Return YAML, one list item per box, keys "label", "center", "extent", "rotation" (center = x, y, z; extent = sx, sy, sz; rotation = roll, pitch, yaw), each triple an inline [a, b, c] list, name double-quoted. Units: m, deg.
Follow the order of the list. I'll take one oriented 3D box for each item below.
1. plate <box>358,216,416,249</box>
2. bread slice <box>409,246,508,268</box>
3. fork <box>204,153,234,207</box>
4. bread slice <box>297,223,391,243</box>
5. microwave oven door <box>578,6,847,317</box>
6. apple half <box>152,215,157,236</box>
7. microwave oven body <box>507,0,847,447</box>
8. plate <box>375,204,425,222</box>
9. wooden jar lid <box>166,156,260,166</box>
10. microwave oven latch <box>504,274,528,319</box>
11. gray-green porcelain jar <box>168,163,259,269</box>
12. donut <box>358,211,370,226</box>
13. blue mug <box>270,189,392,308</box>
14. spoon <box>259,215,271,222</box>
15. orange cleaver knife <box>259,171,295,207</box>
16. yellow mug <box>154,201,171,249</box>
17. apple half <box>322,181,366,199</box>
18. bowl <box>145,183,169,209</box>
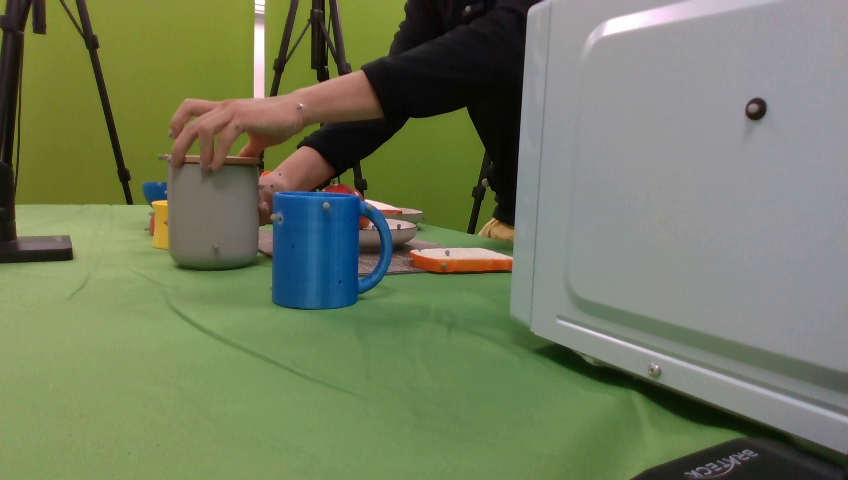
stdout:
- label: "plate"
  center: [-0.116, -0.014, 0.966]
  extent: [0.208, 0.039, 0.207]
  rotation: [2, 7, 0]
- label: "bread slice"
  center: [0.048, 0.021, 0.816]
  extent: [0.132, 0.019, 0.104]
  rotation: [0, 7, -24]
- label: "fork"
  center: [-0.480, -0.135, 1.411]
  extent: [0.028, 0.018, 0.207]
  rotation: [1, -34, 0]
- label: "bread slice"
  center: [-0.121, -0.013, 0.970]
  extent: [0.106, 0.018, 0.135]
  rotation: [11, 11, 41]
- label: "microwave oven door"
  center: [0.294, -0.067, 0.570]
  extent: [0.358, 0.243, 0.039]
  rotation: [-3, 9, -31]
- label: "apple half"
  center: [-0.415, -0.034, 1.017]
  extent: [0.081, 0.053, 0.074]
  rotation: [1, 10, -8]
- label: "microwave oven body"
  center: [0.331, -0.042, 0.425]
  extent: [0.444, 0.260, 0.324]
  rotation: [-2, 8, -31]
- label: "plate"
  center: [-0.102, -0.053, 1.299]
  extent: [0.209, 0.038, 0.209]
  rotation: [2, 8, 0]
- label: "wooden jar lid"
  center: [-0.258, -0.093, 0.744]
  extent: [0.108, 0.020, 0.108]
  rotation: [1, 10, 0]
- label: "microwave oven latch"
  center: [0.100, 0.041, 0.470]
  extent: [0.079, 0.029, 0.030]
  rotation: [-1, 7, -26]
- label: "gray-green porcelain jar"
  center: [-0.260, -0.031, 0.752]
  extent: [0.106, 0.126, 0.106]
  rotation: [2, 7, 0]
- label: "donut"
  center: [-0.132, -0.042, 0.959]
  extent: [0.099, 0.048, 0.099]
  rotation: [0, 7, 0]
- label: "blue mug"
  center: [-0.089, 0.005, 0.588]
  extent: [0.117, 0.106, 0.082]
  rotation: [0, 7, -10]
- label: "spoon"
  center: [-0.200, -0.032, 0.962]
  extent: [0.041, 0.021, 0.195]
  rotation: [6, 0, 31]
- label: "orange cleaver knife"
  center: [-0.283, -0.086, 1.343]
  extent: [0.212, 0.077, 0.012]
  rotation: [24, -16, -41]
- label: "yellow mug"
  center: [-0.337, -0.022, 0.899]
  extent: [0.130, 0.064, 0.100]
  rotation: [8, 9, 35]
- label: "apple half"
  center: [-0.128, -0.077, 0.955]
  extent: [0.081, 0.033, 0.081]
  rotation: [3, 16, -1]
- label: "bowl"
  center: [-0.459, -0.068, 1.175]
  extent: [0.151, 0.077, 0.151]
  rotation: [3, 7, 0]
